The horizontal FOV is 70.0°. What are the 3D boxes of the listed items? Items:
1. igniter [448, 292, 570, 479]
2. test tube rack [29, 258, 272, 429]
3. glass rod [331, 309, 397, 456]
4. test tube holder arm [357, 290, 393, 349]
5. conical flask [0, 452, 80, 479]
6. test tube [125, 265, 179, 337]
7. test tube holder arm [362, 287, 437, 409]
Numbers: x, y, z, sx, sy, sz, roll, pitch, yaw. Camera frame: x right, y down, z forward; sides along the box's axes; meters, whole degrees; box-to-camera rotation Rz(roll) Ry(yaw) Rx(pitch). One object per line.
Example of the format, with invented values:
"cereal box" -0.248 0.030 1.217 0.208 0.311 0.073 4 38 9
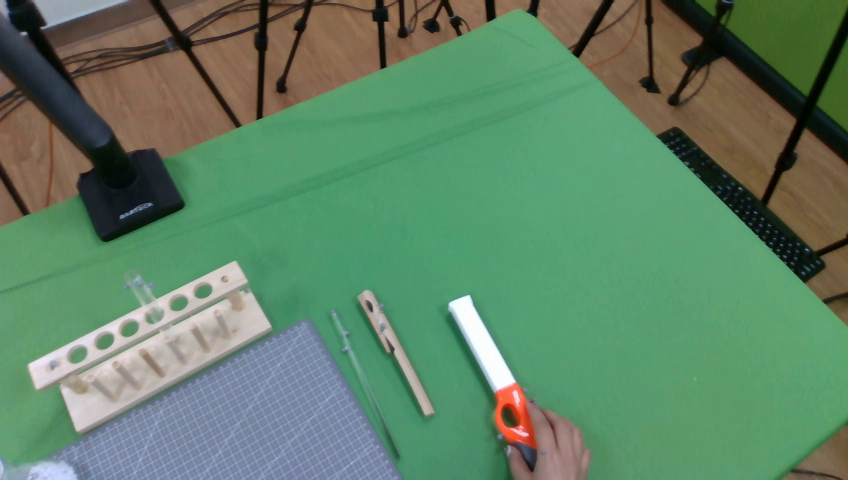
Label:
"igniter" 0.100 0.185 0.730 0.057 0.025 0.274 -19 63 -17
"test tube rack" -0.311 0.120 0.715 0.242 0.086 0.066 -28 65 -17
"glass rod" -0.075 0.170 0.742 0.008 0.008 0.198 -21 66 -15
"test tube holder arm" -0.060 0.102 0.778 0.010 0.015 0.087 -40 65 16
"conical flask" -0.412 0.244 0.614 0.075 0.123 0.074 1 60 -2
"test tube" -0.304 0.073 0.686 0.017 0.151 0.017 2 56 -3
"test tube holder arm" -0.033 0.132 0.758 0.013 0.015 0.177 -41 65 15
